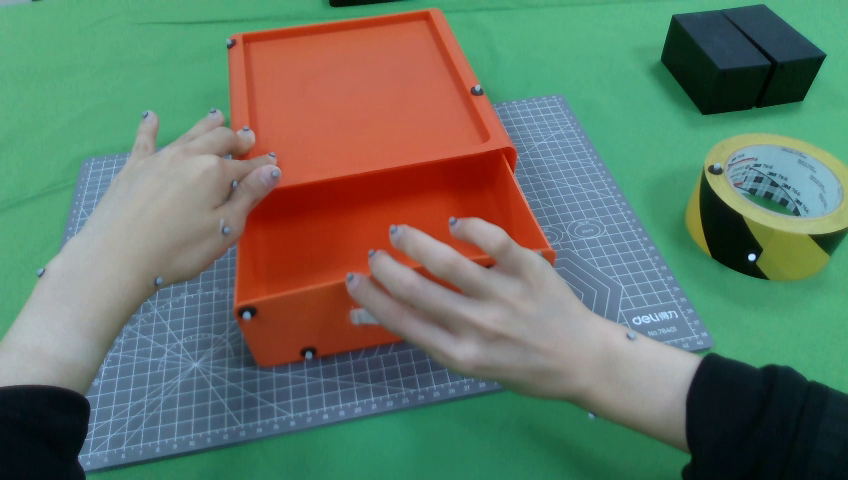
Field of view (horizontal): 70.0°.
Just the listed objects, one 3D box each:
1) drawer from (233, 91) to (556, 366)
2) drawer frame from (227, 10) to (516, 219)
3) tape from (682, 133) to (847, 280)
[{"bbox_3d":[-0.033,-0.026,0.444,0.195,0.074,0.209,-10,48,-7],"label":"drawer"},{"bbox_3d":[-0.054,-0.095,0.505,0.202,0.083,0.211,-12,48,-9],"label":"drawer frame"},{"bbox_3d":[0.261,-0.028,0.462,0.117,0.053,0.115,0,48,0],"label":"tape"}]
